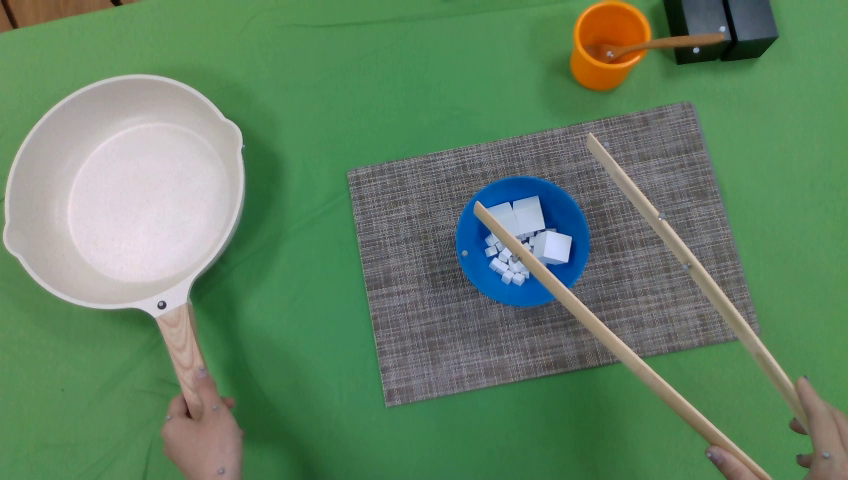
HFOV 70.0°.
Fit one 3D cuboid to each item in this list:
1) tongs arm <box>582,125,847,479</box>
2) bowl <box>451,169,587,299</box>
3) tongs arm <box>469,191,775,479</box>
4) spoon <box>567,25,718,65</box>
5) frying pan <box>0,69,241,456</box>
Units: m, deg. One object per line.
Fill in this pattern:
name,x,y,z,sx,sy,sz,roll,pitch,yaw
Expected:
tongs arm,0.241,0.045,0.552,0.051,0.027,0.381,-27,67,-13
bowl,0.108,0.000,0.709,0.151,0.077,0.150,-1,78,3
tongs arm,0.176,0.084,0.535,0.028,0.028,0.384,-37,69,-21
spoon,0.251,-0.235,0.718,0.022,0.192,0.041,34,75,-34
frying pan,-0.318,0.024,0.715,0.307,0.103,0.484,-26,70,-2
